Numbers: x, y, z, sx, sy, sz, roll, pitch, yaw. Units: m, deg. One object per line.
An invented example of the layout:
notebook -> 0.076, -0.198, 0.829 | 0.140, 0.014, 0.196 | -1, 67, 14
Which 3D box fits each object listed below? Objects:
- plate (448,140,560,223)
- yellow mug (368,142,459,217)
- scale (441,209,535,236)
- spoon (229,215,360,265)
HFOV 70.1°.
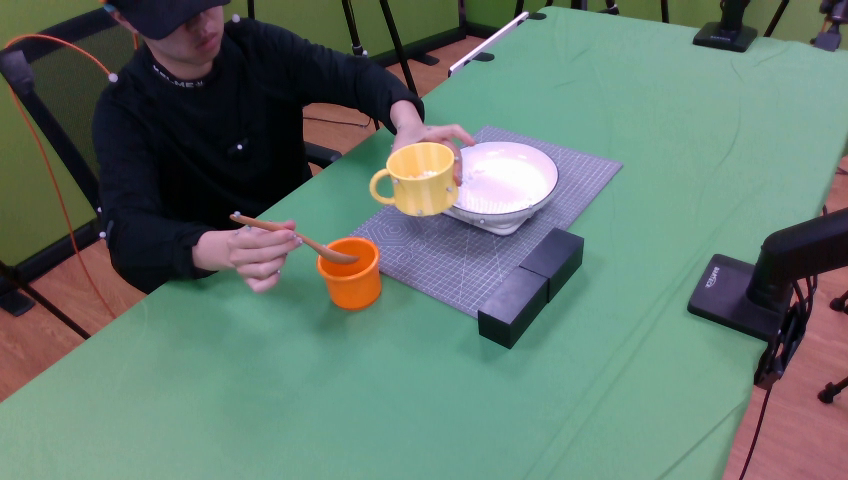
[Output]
plate -> 0.118, -0.094, 0.999 | 0.209, 0.038, 0.208 | -5, 41, 4
yellow mug -> -0.017, -0.085, 0.877 | 0.131, 0.064, 0.099 | -14, 39, -6
scale -> 0.099, -0.080, 1.035 | 0.199, 0.032, 0.149 | 23, 48, 31
spoon -> -0.164, 0.001, 0.788 | 0.041, 0.195, 0.021 | -10, 62, 46
